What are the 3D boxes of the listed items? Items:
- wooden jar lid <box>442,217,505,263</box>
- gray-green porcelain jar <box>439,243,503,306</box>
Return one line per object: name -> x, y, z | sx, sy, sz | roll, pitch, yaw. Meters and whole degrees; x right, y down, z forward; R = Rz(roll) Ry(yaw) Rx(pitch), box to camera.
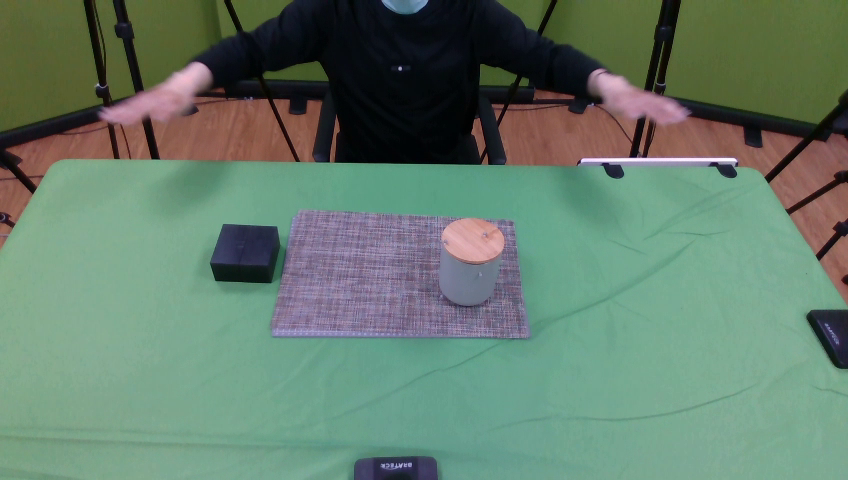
wooden jar lid -> 0.084, 0.003, 1.033 | 0.108, 0.021, 0.107 | 1, 43, -1
gray-green porcelain jar -> 0.081, 0.046, 1.078 | 0.106, 0.127, 0.105 | 2, 46, -2
